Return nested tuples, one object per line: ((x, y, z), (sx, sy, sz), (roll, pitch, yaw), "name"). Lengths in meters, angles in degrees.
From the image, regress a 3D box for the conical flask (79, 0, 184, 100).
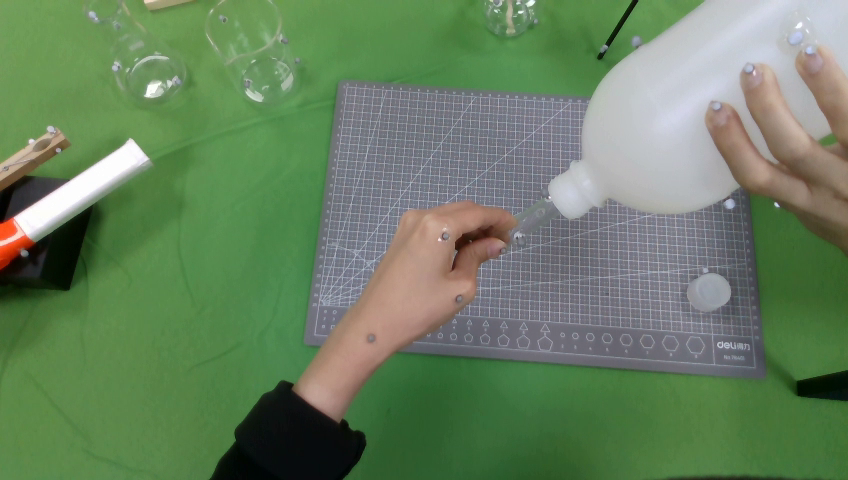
((-0.304, -0.205, 0.622), (0.075, 0.122, 0.075), (0, 71, 0), "conical flask")

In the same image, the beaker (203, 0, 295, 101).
((-0.179, -0.197, 0.634), (0.074, 0.101, 0.083), (19, 73, 6), "beaker")

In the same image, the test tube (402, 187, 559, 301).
((0.038, 0.006, 0.433), (0.150, 0.017, 0.017), (-36, 70, 30), "test tube")

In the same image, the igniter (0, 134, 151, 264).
((-0.381, -0.008, 0.559), (0.276, 0.025, 0.057), (-40, 79, -16), "igniter")

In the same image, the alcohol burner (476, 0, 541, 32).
((0.095, -0.286, 0.660), (0.078, 0.120, 0.077), (1, 70, -2), "alcohol burner")

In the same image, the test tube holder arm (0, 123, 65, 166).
((-0.423, -0.053, 0.576), (0.178, 0.015, 0.013), (-39, 77, -13), "test tube holder arm")

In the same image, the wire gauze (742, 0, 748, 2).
((0.272, -0.294, 0.584), (0.121, 0.011, 0.124), (25, 74, 5), "wire gauze")

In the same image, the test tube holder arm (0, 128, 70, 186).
((-0.385, -0.077, 0.585), (0.088, 0.015, 0.010), (-38, 76, -13), "test tube holder arm")

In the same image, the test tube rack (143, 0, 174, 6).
((-0.218, -0.349, 0.689), (0.242, 0.085, 0.066), (-16, 73, -6), "test tube rack")

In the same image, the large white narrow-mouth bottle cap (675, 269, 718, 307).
((0.271, 0.048, 0.603), (0.038, 0.024, 0.037), (0, 73, 0), "large white narrow-mouth bottle cap")

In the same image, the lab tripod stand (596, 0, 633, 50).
((0.264, -0.272, 0.648), (0.148, 0.132, 0.147), (1, 71, -2), "lab tripod stand")

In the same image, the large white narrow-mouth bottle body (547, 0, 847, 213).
((0.155, -0.076, 0.342), (0.194, 0.102, 0.101), (-35, 71, 30), "large white narrow-mouth bottle body")
